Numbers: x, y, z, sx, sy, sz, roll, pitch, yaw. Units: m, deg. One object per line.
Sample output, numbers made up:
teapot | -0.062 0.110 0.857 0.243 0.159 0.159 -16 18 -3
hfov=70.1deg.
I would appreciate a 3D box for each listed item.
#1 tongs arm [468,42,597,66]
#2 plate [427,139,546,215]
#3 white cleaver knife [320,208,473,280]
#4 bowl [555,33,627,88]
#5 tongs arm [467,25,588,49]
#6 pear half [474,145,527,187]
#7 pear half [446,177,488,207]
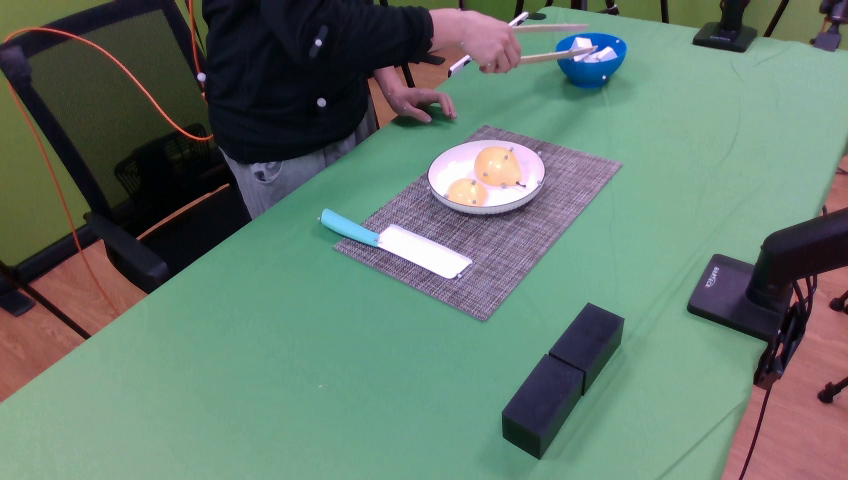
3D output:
tongs arm | 0.223 -0.368 1.164 0.387 0.050 0.026 -24 1 -42
plate | 0.109 -0.107 1.058 0.207 0.039 0.206 -4 40 4
white cleaver knife | -0.053 0.001 0.978 0.284 0.021 0.066 23 40 26
bowl | 0.360 -0.384 1.318 0.151 0.077 0.150 -4 41 4
tongs arm | 0.210 -0.397 1.165 0.390 0.028 0.027 -22 3 -42
pear half | 0.140 -0.129 1.059 0.076 0.056 0.109 -37 52 -24
pear half | 0.073 -0.086 1.032 0.070 0.031 0.087 -20 37 -9
